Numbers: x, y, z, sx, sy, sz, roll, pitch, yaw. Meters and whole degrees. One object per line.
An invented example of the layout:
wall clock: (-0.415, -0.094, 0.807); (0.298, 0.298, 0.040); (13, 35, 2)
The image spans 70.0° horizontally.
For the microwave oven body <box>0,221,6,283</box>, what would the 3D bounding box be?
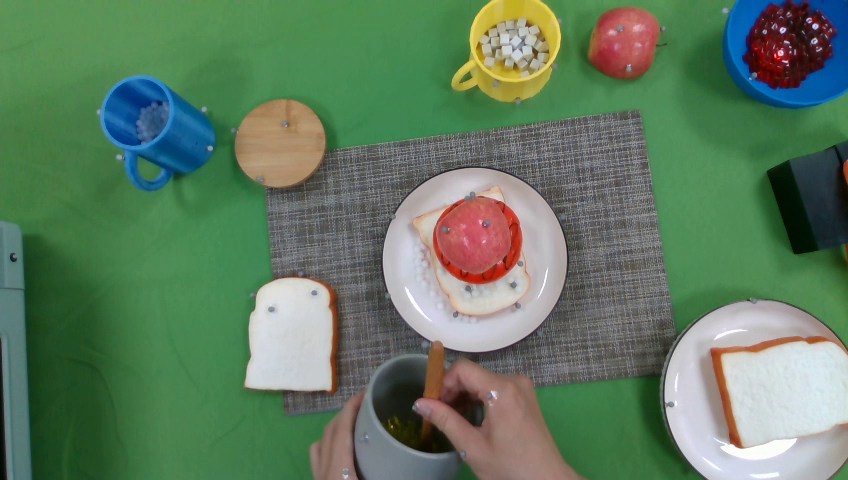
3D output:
microwave oven body: (-0.624, 0.195, 0.597); (0.326, 0.261, 0.440); (-7, 84, 3)

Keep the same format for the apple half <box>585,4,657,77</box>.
apple half: (0.227, -0.234, 0.691); (0.074, 0.053, 0.080); (15, 86, 8)

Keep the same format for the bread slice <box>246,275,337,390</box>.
bread slice: (-0.153, 0.106, 0.697); (0.105, 0.019, 0.131); (0, 85, 3)

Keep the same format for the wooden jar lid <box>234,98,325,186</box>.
wooden jar lid: (-0.170, -0.114, 0.719); (0.108, 0.021, 0.108); (-1, 81, 5)

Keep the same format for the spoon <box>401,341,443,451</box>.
spoon: (0.003, 0.149, 0.533); (0.041, 0.195, 0.021); (20, 50, 12)

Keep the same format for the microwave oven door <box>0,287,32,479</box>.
microwave oven door: (-0.476, 0.219, 0.580); (0.039, 0.244, 0.354); (-7, 83, 3)

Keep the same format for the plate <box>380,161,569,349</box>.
plate: (0.055, 0.017, 0.681); (0.207, 0.039, 0.207); (0, 85, 4)

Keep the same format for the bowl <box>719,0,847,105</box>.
bowl: (0.391, -0.212, 0.665); (0.151, 0.077, 0.151); (0, 85, 4)

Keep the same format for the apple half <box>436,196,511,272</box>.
apple half: (0.051, -0.007, 0.619); (0.081, 0.033, 0.081); (-2, 82, 11)

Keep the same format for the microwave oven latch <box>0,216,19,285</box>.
microwave oven latch: (-0.491, 0.013, 0.703); (0.030, 0.029, 0.079); (-3, 85, 3)

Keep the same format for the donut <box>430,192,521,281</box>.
donut: (0.056, -0.003, 0.655); (0.099, 0.048, 0.099); (0, 85, 5)

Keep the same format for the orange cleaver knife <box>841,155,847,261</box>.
orange cleaver knife: (0.472, 0.014, 0.634); (0.012, 0.076, 0.212); (-19, 105, -5)

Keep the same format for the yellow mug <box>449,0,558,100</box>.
yellow mug: (0.086, -0.211, 0.692); (0.131, 0.064, 0.099); (-31, 83, 1)

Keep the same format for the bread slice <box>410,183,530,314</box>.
bread slice: (0.060, 0.014, 0.682); (0.107, 0.018, 0.134); (-24, 83, 2)

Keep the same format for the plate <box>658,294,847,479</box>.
plate: (0.354, 0.162, 0.650); (0.209, 0.038, 0.208); (0, 84, 4)

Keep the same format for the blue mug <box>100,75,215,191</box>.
blue mug: (-0.303, -0.113, 0.688); (0.082, 0.106, 0.116); (14, 85, 5)

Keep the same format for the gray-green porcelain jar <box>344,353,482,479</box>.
gray-green porcelain jar: (-0.015, 0.184, 0.559); (0.105, 0.105, 0.127); (25, 128, 7)
